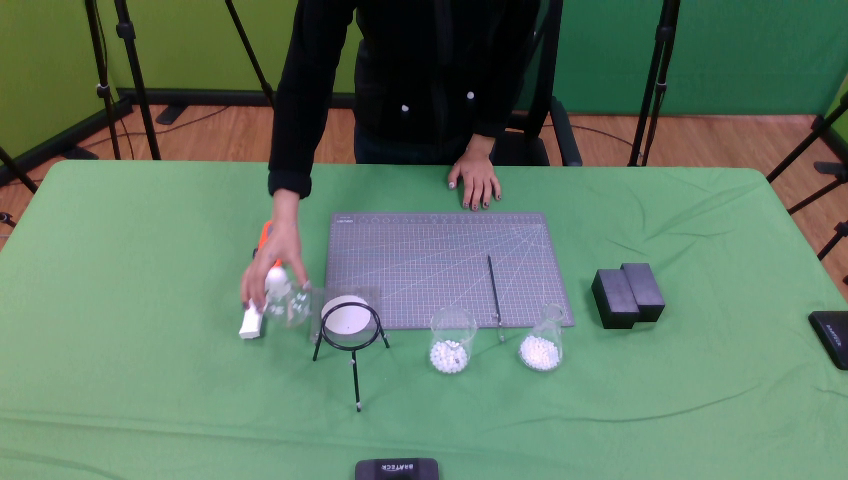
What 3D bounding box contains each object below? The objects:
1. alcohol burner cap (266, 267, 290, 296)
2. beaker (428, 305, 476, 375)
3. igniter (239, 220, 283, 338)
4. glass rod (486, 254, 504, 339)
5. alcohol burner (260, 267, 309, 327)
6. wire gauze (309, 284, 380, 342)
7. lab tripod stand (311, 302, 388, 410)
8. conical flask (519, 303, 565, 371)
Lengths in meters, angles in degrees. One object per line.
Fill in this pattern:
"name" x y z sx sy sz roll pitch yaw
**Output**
"alcohol burner cap" -0.226 0.062 0.930 0.034 0.048 0.033 1 52 -1
"beaker" 0.044 0.169 0.987 0.074 0.101 0.083 1 47 -3
"igniter" -0.298 0.061 1.113 0.057 0.025 0.274 -5 46 4
"glass rod" 0.129 0.099 1.119 0.008 0.008 0.198 -1 47 -4
"alcohol burner" -0.224 0.084 0.958 0.078 0.120 0.077 -2 47 2
"wire gauze" -0.141 0.128 1.071 0.125 0.011 0.120 -1 46 -5
"lab tripod stand" -0.112 0.168 0.951 0.148 0.132 0.147 2 44 -2
"conical flask" 0.201 0.155 0.997 0.075 0.122 0.075 2 46 -2
